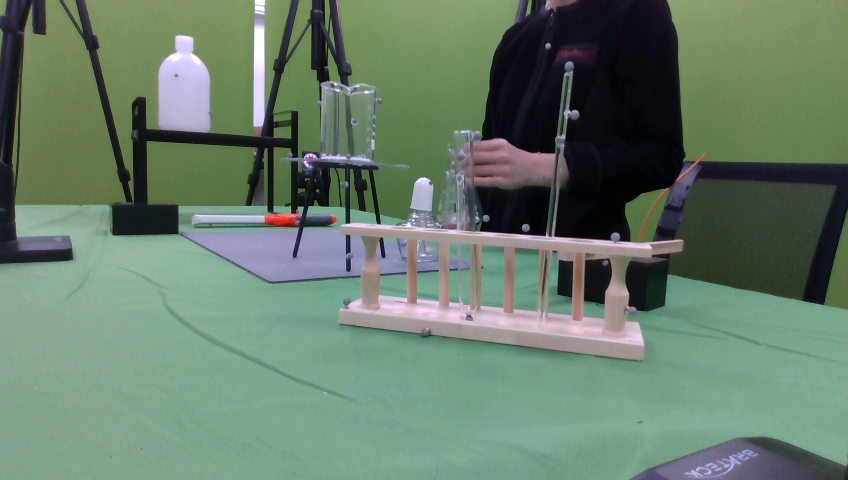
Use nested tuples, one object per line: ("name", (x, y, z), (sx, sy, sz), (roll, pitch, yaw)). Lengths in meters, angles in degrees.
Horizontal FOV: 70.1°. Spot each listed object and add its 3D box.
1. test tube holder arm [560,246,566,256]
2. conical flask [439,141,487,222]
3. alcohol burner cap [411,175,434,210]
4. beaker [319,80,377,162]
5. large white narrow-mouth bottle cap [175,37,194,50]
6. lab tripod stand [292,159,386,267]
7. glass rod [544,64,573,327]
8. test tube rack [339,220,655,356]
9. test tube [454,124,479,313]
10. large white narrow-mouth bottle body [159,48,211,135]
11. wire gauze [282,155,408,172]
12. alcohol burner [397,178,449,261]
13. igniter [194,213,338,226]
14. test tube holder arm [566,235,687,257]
("test tube holder arm", (0.173, 0.007, 0.612), (0.088, 0.015, 0.010), (-3, 9, -30))
("conical flask", (0.059, -0.091, 0.937), (0.075, 0.122, 0.075), (-3, 10, 1))
("alcohol burner cap", (0.000, -0.067, 0.842), (0.034, 0.048, 0.034), (7, 8, -1))
("beaker", (-0.098, -0.150, 0.777), (0.074, 0.100, 0.084), (1, 7, -7))
("large white narrow-mouth bottle cap", (-0.501, -0.410, 1.264), (0.038, 0.024, 0.037), (2, 7, 0))
("lab tripod stand", (-0.105, -0.039, 0.797), (0.148, 0.131, 0.148), (2, 5, 0))
("glass rod", (0.101, -0.028, 0.453), (0.008, 0.199, 0.008), (2, 13, 0))
("test tube rack", (0.056, 0.032, 0.495), (0.242, 0.085, 0.067), (4, 7, 15))
("test tube", (0.034, -0.015, 0.477), (0.017, 0.150, 0.017), (-2, 9, 1))
("large white narrow-mouth bottle body", (-0.503, -0.323, 1.275), (0.102, 0.194, 0.102), (2, 7, 0))
("wire gauze", (-0.104, -0.103, 0.785), (0.126, 0.011, 0.121), (1, 8, -39))
("alcohol burner", (-0.002, -0.031, 0.846), (0.078, 0.119, 0.078), (0, 6, 0))
("igniter", (-0.306, -0.041, 1.197), (0.278, 0.025, 0.057), (-2, -2, -30))
("test tube holder arm", (0.215, 0.006, 0.630), (0.179, 0.015, 0.013), (-3, 9, -31))
